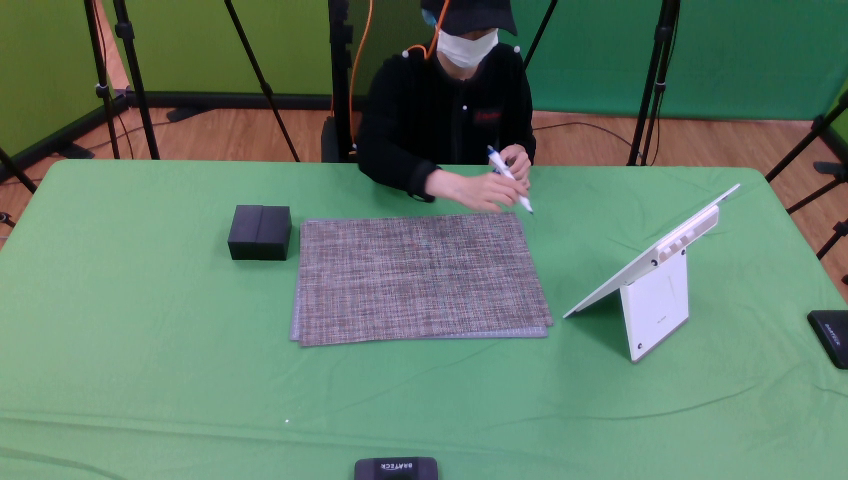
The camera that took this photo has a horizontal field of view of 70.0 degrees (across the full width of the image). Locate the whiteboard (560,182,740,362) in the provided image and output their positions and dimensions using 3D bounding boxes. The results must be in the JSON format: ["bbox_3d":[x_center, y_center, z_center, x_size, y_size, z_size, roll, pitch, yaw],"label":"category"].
[{"bbox_3d":[0.406,0.075,1.001,0.217,0.306,0.143,-28,73,-28],"label":"whiteboard"}]

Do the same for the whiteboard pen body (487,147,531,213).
[{"bbox_3d":[0.155,-0.105,1.085,0.017,0.017,0.141,-45,106,-36],"label":"whiteboard pen body"}]

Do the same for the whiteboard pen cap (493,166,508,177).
[{"bbox_3d":[0.163,-0.148,1.298,0.033,0.018,0.018,-28,54,-17],"label":"whiteboard pen cap"}]
